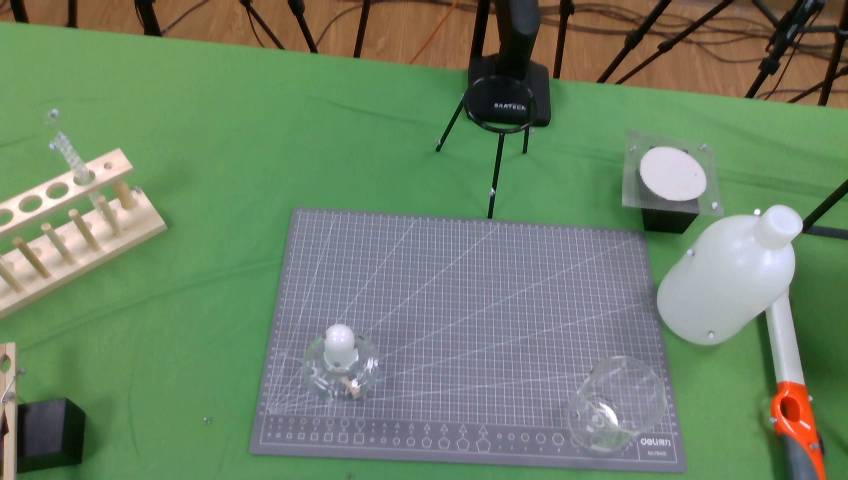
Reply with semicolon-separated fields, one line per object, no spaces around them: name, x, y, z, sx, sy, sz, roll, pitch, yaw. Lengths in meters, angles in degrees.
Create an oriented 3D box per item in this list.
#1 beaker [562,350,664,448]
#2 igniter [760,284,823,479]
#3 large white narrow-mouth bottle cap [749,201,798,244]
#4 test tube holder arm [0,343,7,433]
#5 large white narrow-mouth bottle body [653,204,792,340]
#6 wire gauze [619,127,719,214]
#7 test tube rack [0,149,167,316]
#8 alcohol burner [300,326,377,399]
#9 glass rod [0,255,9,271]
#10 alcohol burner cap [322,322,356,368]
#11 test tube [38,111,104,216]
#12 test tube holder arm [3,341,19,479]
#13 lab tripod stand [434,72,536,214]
beaker;0.182;0.164;0.610;0.084;0.101;0.073;1;58;-4
igniter;0.407;0.166;0.677;0.057;0.025;0.274;15;58;-8
large white narrow-mouth bottle cap;0.335;-0.017;0.582;0.038;0.024;0.037;2;58;-3
test tube holder arm;-0.393;0.137;0.563;0.010;0.015;0.087;-11;61;-21
large white narrow-mouth bottle body;0.329;0.029;0.654;0.102;0.196;0.101;2;58;-3
wire gauze;0.310;-0.089;0.775;0.121;0.011;0.124;11;58;1
test tube rack;-0.420;0.002;0.660;0.242;0.086;0.066;-33;67;-23
alcohol burner;-0.085;0.115;0.605;0.078;0.120;0.077;4;57;-5
glass rod;-0.453;-0.030;0.598;0.008;0.201;0.008;4;49;-5
alcohol burner cap;-0.082;0.097;0.574;0.034;0.048;0.033;2;53;-2
test tube;-0.373;-0.076;0.652;0.017;0.151;0.017;1;53;-1
test tube holder arm;-0.372;0.173;0.544;0.013;0.015;0.176;-11;61;-22
lab tripod stand;0.084;-0.127;0.760;0.148;0.132;0.147;3;60;-5
